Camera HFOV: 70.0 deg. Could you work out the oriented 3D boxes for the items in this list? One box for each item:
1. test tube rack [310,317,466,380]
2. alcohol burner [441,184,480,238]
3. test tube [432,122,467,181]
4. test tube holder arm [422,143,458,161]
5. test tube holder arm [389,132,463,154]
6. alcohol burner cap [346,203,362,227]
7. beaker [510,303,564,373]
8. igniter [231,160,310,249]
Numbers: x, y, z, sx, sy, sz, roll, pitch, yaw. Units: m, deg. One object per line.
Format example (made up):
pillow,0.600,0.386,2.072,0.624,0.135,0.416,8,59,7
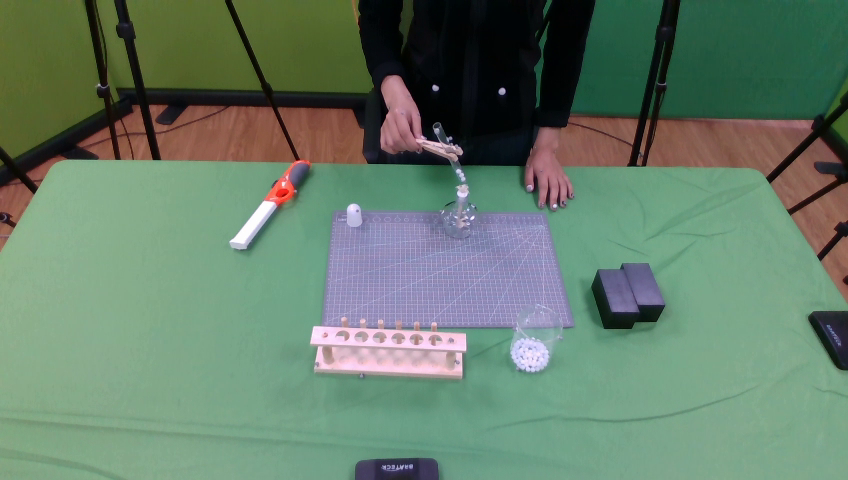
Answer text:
test tube rack,-0.056,0.171,0.987,0.242,0.085,0.066,3,45,-1
alcohol burner,0.073,-0.061,1.195,0.078,0.120,0.077,1,47,-1
test tube,0.048,-0.155,1.082,0.017,0.151,0.017,-13,53,17
test tube holder arm,0.028,-0.162,1.093,0.010,0.015,0.087,-49,46,-11
test tube holder arm,0.001,-0.180,1.124,0.177,0.015,0.013,21,68,40
alcohol burner cap,-0.141,-0.053,1.222,0.034,0.048,0.033,2,47,-2
beaker,0.182,0.164,1.000,0.074,0.101,0.083,2,46,-1
igniter,-0.311,-0.081,1.250,0.057,0.025,0.275,9,45,18
